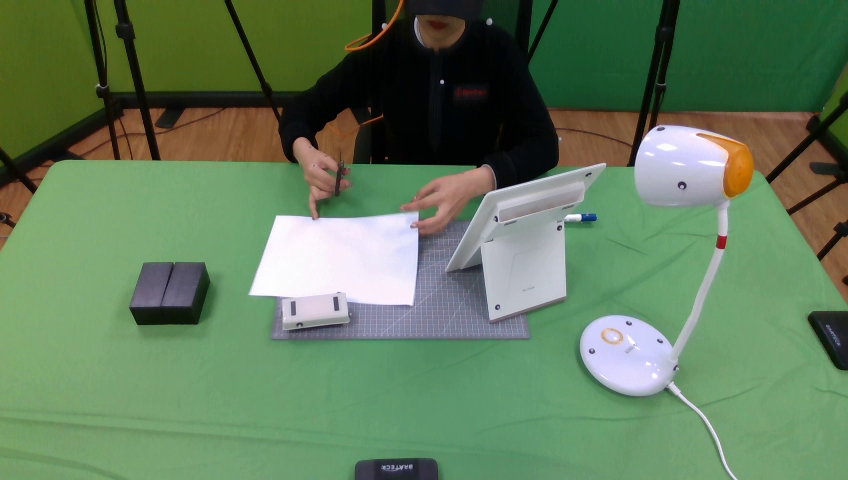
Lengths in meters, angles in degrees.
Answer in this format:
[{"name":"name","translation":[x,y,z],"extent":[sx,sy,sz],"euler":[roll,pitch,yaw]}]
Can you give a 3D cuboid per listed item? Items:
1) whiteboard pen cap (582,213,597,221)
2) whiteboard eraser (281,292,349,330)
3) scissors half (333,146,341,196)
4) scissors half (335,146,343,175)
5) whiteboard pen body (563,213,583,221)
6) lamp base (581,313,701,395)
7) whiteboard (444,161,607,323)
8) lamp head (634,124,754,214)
[{"name":"whiteboard pen cap","translation":[0.342,-0.048,1.260],"extent":[0.033,0.018,0.018],"euler":[-3,46,-3]},{"name":"whiteboard eraser","translation":[-0.189,0.124,1.045],"extent":[0.113,0.042,0.055],"euler":[-6,46,-10]},{"name":"scissors half","translation":[-0.167,-0.133,1.172],"extent":[0.013,0.175,0.040],"euler":[6,64,-8]},{"name":"scissors half","translation":[-0.164,-0.152,1.178],"extent":[0.013,0.175,0.040],"euler":[12,79,-6]},{"name":"whiteboard pen body","translation":[0.283,-0.047,1.257],"extent":[0.141,0.017,0.017],"euler":[-1,46,-2]},{"name":"lamp base","translation":[0.361,0.144,0.973],"extent":[0.178,0.181,0.160],"euler":[34,53,23]},{"name":"whiteboard","translation":[0.186,0.025,1.029],"extent":[0.217,0.306,0.143],"euler":[-14,68,-18]},{"name":"lamp head","translation":[0.351,-0.089,0.775],"extent":[0.112,0.113,0.122],"euler":[-30,30,-28]}]
